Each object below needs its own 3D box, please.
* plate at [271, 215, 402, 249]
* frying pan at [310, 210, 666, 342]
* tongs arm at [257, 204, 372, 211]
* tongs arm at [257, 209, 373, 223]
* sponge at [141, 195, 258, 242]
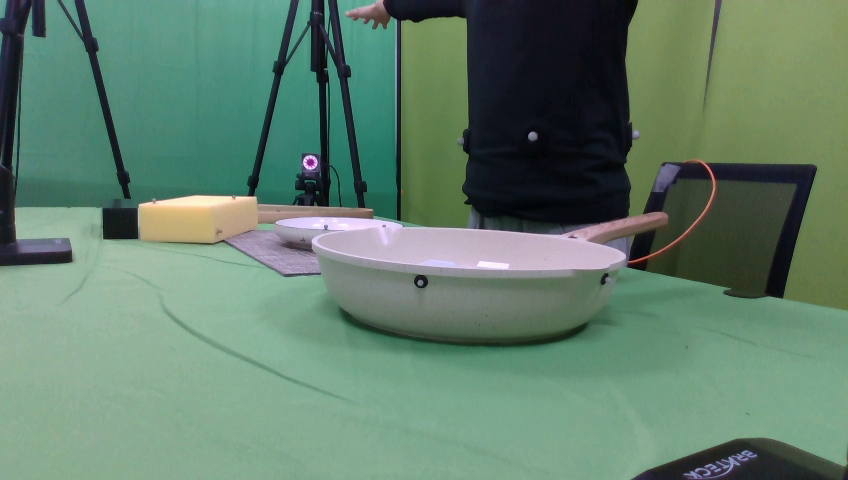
[{"bbox_3d":[-0.141,-0.012,0.978,0.208,0.039,0.207,3,7,0],"label":"plate"},{"bbox_3d":[0.120,0.011,0.643,0.490,0.102,0.305,-13,16,-36],"label":"frying pan"},{"bbox_3d":[-0.312,-0.068,1.417,0.387,0.026,0.050,1,8,-24],"label":"tongs arm"},{"bbox_3d":[-0.274,-0.054,1.346,0.390,0.028,0.028,-2,6,-37],"label":"tongs arm"},{"bbox_3d":[-0.380,-0.040,1.047,0.118,0.061,0.207,1,8,3],"label":"sponge"}]
